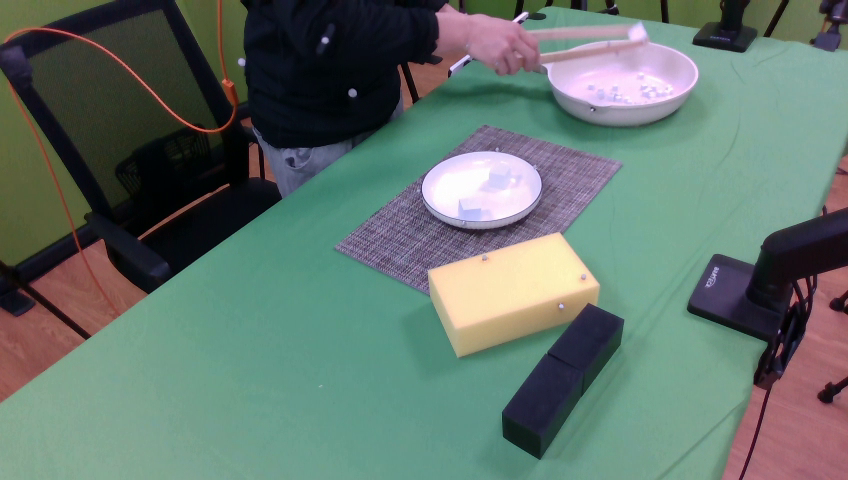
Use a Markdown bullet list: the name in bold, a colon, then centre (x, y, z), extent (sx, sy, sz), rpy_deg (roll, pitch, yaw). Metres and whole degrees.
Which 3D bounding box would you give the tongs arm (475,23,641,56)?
- **tongs arm**: centre (0.258, -0.380, 1.125), extent (0.390, 0.027, 0.028), rpy_deg (-14, 75, -25)

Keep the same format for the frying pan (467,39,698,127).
- **frying pan**: centre (0.312, -0.359, 1.277), extent (0.485, 0.103, 0.307), rpy_deg (23, 48, 19)

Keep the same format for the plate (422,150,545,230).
- **plate**: centre (0.101, -0.082, 1.031), extent (0.207, 0.039, 0.206), rpy_deg (-4, 40, 4)

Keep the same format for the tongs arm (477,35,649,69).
- **tongs arm**: centre (0.267, -0.359, 1.118), extent (0.387, 0.026, 0.050), rpy_deg (-19, 74, -27)

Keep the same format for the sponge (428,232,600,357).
- **sponge**: centre (0.120, 0.071, 0.834), extent (0.207, 0.061, 0.117), rpy_deg (-16, 43, -12)
